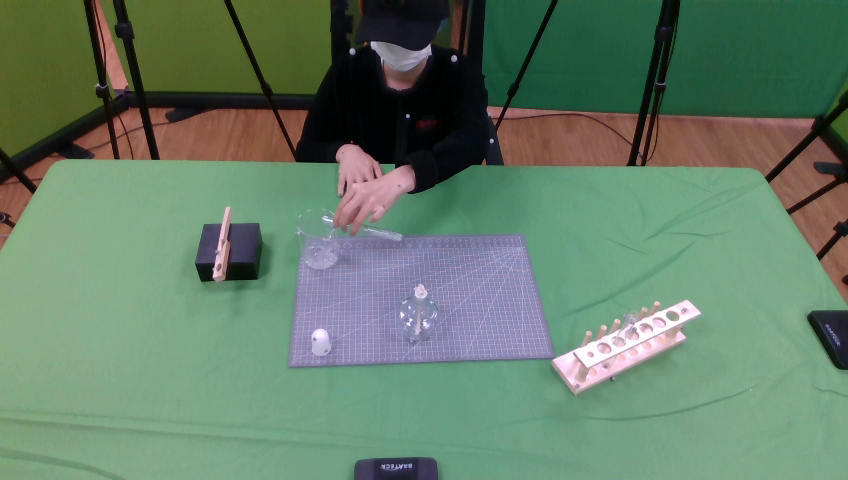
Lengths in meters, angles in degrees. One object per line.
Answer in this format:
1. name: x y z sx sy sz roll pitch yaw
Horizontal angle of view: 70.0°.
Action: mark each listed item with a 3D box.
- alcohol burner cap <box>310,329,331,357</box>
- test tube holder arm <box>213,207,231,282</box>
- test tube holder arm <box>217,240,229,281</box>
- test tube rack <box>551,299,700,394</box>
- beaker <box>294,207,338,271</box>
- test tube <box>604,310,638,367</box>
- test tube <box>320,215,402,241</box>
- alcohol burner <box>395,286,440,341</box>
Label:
1. alcohol burner cap: -0.173 0.168 1.005 0.034 0.048 0.033 2 46 -2
2. test tube holder arm: -0.366 0.004 1.101 0.013 0.015 0.177 -10 47 -1
3. test tube holder arm: -0.354 0.035 1.070 0.010 0.015 0.087 -10 47 -1
4. test tube rack: 0.339 0.166 1.021 0.242 0.085 0.066 -19 50 -21
5. beaker: -0.196 0.003 1.123 0.074 0.101 0.083 -23 52 -24
6. test tube: 0.310 0.158 0.957 0.017 0.151 0.017 1 49 -1
7. test tube: -0.110 -0.021 1.060 0.150 0.017 0.017 13 46 8
8. alcohol burner: -0.010 0.116 1.018 0.078 0.119 0.077 3 47 -3
